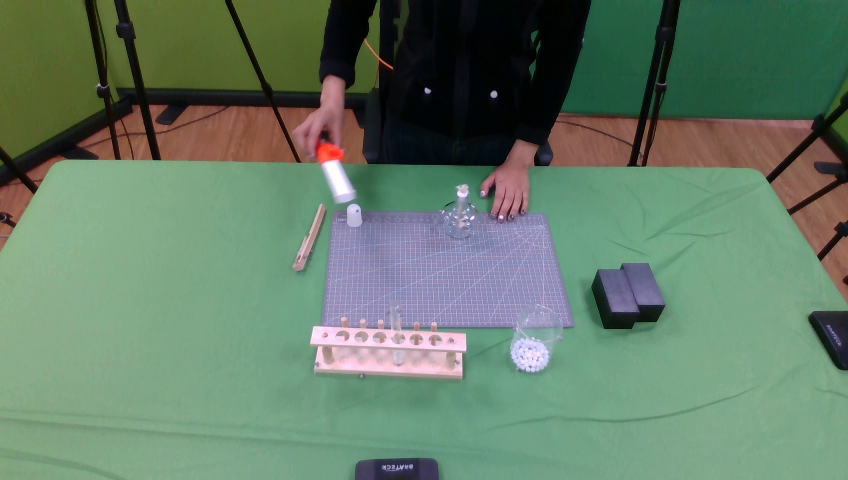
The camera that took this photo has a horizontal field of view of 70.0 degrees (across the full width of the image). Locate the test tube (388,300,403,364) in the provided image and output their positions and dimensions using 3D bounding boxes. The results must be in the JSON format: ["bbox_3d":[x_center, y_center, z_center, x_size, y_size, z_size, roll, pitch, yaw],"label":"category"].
[{"bbox_3d":[-0.044,0.146,0.942,0.017,0.151,0.017,-1,44,1],"label":"test tube"}]

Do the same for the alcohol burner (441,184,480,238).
[{"bbox_3d":[0.073,-0.061,1.195,0.078,0.120,0.077,1,47,-1],"label":"alcohol burner"}]

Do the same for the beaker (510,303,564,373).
[{"bbox_3d":[0.182,0.164,1.000,0.074,0.101,0.083,2,45,-1],"label":"beaker"}]

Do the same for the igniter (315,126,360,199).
[{"bbox_3d":[-0.171,-0.156,1.164,0.057,0.025,0.274,-12,37,-15],"label":"igniter"}]

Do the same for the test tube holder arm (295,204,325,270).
[{"bbox_3d":[-0.222,-0.009,1.192,0.013,0.015,0.177,-18,37,27],"label":"test tube holder arm"}]

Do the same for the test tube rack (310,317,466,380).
[{"bbox_3d":[-0.056,0.171,0.987,0.242,0.085,0.066,3,45,-1],"label":"test tube rack"}]

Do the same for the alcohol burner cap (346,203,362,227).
[{"bbox_3d":[-0.142,-0.053,1.222,0.034,0.048,0.033,2,47,-2],"label":"alcohol burner cap"}]

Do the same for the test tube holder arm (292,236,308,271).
[{"bbox_3d":[-0.234,0.024,1.163,0.010,0.015,0.087,-17,38,29],"label":"test tube holder arm"}]
